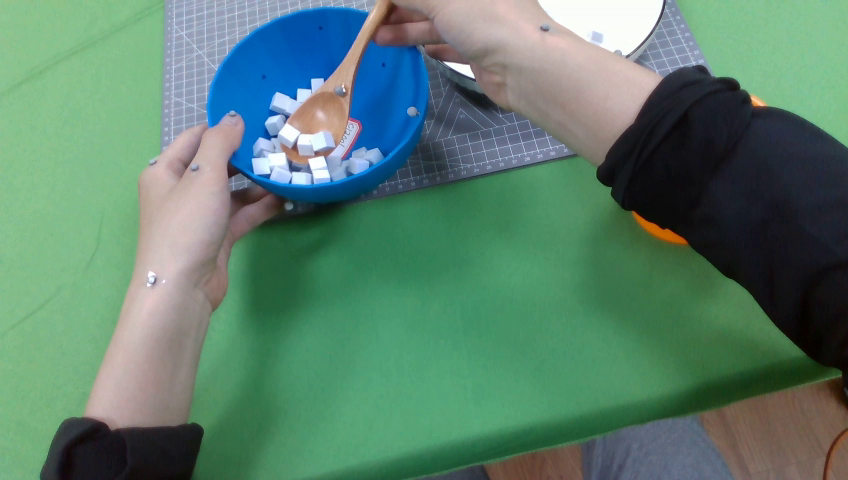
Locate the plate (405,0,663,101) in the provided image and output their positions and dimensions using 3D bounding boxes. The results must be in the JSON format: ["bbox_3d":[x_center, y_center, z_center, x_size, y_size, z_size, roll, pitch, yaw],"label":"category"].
[{"bbox_3d":[0.088,-0.197,0.508,0.209,0.038,0.207,-3,64,6],"label":"plate"}]

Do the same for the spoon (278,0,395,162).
[{"bbox_3d":[-0.037,-0.135,0.398,0.041,0.022,0.194,34,97,16],"label":"spoon"}]

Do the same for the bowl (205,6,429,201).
[{"bbox_3d":[-0.069,-0.084,0.438,0.151,0.077,0.150,-1,66,4],"label":"bowl"}]
